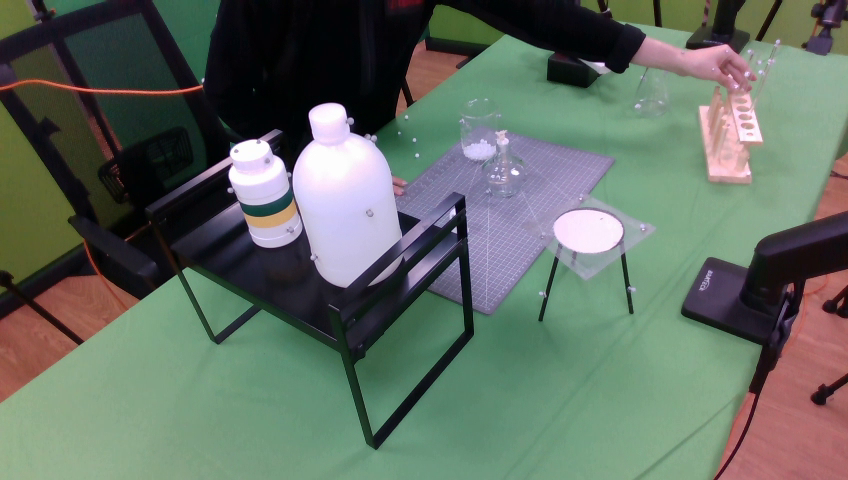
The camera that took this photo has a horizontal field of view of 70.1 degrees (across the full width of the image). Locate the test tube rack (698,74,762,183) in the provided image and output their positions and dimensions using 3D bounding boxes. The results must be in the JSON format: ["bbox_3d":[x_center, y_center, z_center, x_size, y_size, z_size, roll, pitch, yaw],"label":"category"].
[{"bbox_3d":[0.547,-0.209,1.094,0.066,0.085,0.242,6,42,14],"label":"test tube rack"}]

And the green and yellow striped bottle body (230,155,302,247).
[{"bbox_3d":[-0.188,-0.055,0.714,0.063,0.120,0.063,-4,41,4],"label":"green and yellow striped bottle body"}]

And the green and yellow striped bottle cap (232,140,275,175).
[{"bbox_3d":[-0.192,-0.093,0.680,0.045,0.020,0.045,-5,39,5],"label":"green and yellow striped bottle cap"}]

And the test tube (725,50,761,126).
[{"bbox_3d":[0.570,-0.269,1.085,0.017,0.151,0.017,-1,45,1],"label":"test tube"}]

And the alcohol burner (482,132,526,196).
[{"bbox_3d":[0.138,-0.136,1.042,0.078,0.119,0.077,-4,43,4],"label":"alcohol burner"}]

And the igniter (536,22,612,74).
[{"bbox_3d":[0.330,-0.439,1.366,0.057,0.025,0.274,-11,41,-20],"label":"igniter"}]

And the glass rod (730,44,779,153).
[{"bbox_3d":[0.555,-0.233,1.020,0.008,0.200,0.008,2,39,-1],"label":"glass rod"}]

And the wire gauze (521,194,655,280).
[{"bbox_3d":[0.207,-0.012,0.772,0.122,0.011,0.124,-28,44,-20],"label":"wire gauze"}]

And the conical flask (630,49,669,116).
[{"bbox_3d":[0.457,-0.316,1.205,0.075,0.122,0.075,-4,41,4],"label":"conical flask"}]

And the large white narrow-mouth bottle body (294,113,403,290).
[{"bbox_3d":[-0.081,-0.047,0.634,0.102,0.195,0.101,-4,39,3],"label":"large white narrow-mouth bottle body"}]

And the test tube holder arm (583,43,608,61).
[{"bbox_3d":[0.379,-0.420,1.341,0.010,0.015,0.087,-40,41,11],"label":"test tube holder arm"}]

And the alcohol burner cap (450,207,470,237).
[{"bbox_3d":[0.057,-0.032,0.987,0.034,0.048,0.033,-4,41,4],"label":"alcohol burner cap"}]

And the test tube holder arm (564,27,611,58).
[{"bbox_3d":[0.369,-0.450,1.373,0.013,0.015,0.177,-40,41,10],"label":"test tube holder arm"}]

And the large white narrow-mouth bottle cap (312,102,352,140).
[{"bbox_3d":[-0.088,-0.114,0.579,0.038,0.024,0.037,-3,39,3],"label":"large white narrow-mouth bottle cap"}]

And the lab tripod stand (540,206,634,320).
[{"bbox_3d":[0.218,0.034,0.821,0.148,0.132,0.147,-4,42,4],"label":"lab tripod stand"}]

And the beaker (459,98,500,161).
[{"bbox_3d":[0.104,-0.208,1.142,0.074,0.101,0.083,-20,42,-15],"label":"beaker"}]
